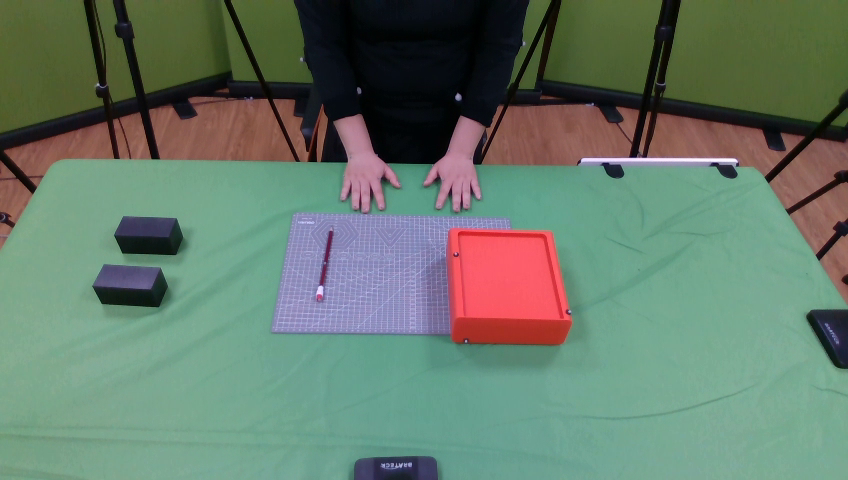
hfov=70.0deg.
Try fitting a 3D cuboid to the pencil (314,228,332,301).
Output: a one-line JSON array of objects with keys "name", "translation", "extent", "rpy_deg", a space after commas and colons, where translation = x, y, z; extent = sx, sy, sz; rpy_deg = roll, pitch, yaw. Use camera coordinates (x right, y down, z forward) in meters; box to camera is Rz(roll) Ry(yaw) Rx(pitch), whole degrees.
[{"name": "pencil", "translation": [-0.189, 0.042, 1.149], "extent": [0.012, 0.012, 0.193], "rpy_deg": [3, 43, -1]}]

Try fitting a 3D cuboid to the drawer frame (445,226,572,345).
[{"name": "drawer frame", "translation": [0.144, 0.078, 1.087], "extent": [0.202, 0.083, 0.212], "rpy_deg": [2, 47, -4]}]

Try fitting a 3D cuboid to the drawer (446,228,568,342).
[{"name": "drawer", "translation": [0.142, 0.077, 1.089], "extent": [0.195, 0.073, 0.210], "rpy_deg": [2, 47, -4]}]
